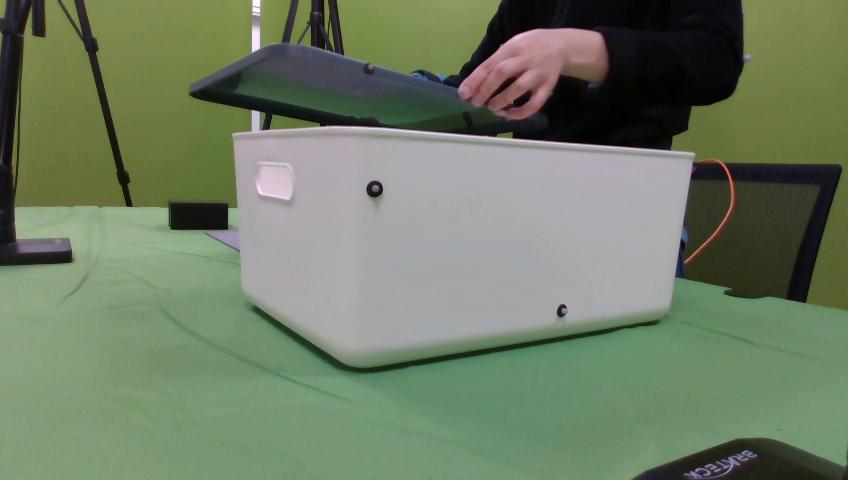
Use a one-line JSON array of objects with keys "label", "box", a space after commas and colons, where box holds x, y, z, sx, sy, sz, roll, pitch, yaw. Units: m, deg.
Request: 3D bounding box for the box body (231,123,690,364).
[{"label": "box body", "box": [0.031, -0.013, 0.563, 0.366, 0.160, 0.253, -3, 8, -33]}]

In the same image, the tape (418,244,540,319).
[{"label": "tape", "box": [0.051, 0.036, 0.570, 0.117, 0.052, 0.117, 3, 6, 0]}]

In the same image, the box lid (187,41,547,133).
[{"label": "box lid", "box": [-0.063, -0.159, 0.719, 0.374, 0.015, 0.262, 3, -1, -39]}]
